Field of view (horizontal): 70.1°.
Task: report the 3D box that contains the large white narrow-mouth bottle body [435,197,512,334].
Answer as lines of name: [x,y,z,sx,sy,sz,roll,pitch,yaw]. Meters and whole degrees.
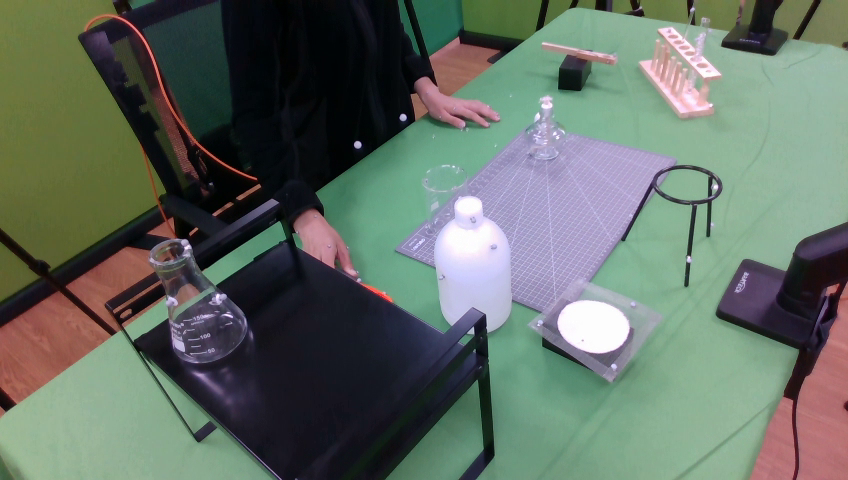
large white narrow-mouth bottle body: [0.066,0.028,0.805,0.102,0.195,0.101,-4,40,4]

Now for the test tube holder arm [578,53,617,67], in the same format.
test tube holder arm: [0.376,-0.393,1.314,0.087,0.015,0.010,26,51,32]

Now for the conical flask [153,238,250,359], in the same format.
conical flask: [-0.225,0.055,0.597,0.075,0.122,0.075,-5,41,4]

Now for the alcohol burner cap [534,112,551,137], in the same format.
alcohol burner cap: [0.235,-0.231,1.197,0.034,0.048,0.033,-5,39,5]

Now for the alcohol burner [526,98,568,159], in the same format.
alcohol burner: [0.228,-0.210,1.118,0.078,0.119,0.077,-5,43,5]

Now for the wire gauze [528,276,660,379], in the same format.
wire gauze: [0.213,0.103,0.763,0.124,0.011,0.122,30,52,35]

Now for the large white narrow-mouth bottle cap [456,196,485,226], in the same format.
large white narrow-mouth bottle cap: [0.057,-0.036,0.749,0.038,0.024,0.037,-4,40,4]

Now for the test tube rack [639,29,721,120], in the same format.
test tube rack: [0.527,-0.351,1.262,0.067,0.085,0.241,-8,40,1]

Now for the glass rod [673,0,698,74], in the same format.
glass rod: [0.538,-0.425,1.244,0.008,0.200,0.008,0,47,0]

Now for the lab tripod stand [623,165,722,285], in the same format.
lab tripod stand: [0.365,-0.030,0.874,0.148,0.132,0.147,-6,41,6]

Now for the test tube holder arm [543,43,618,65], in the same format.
test tube holder arm: [0.345,-0.413,1.341,0.177,0.015,0.013,25,50,31]

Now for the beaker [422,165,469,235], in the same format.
beaker: [0.041,-0.063,0.986,0.073,0.101,0.084,20,47,29]

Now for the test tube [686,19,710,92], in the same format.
test tube: [0.540,-0.360,1.193,0.017,0.151,0.017,-4,43,4]

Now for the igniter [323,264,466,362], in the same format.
igniter: [-0.053,0.097,0.866,0.274,0.025,0.057,28,21,34]
